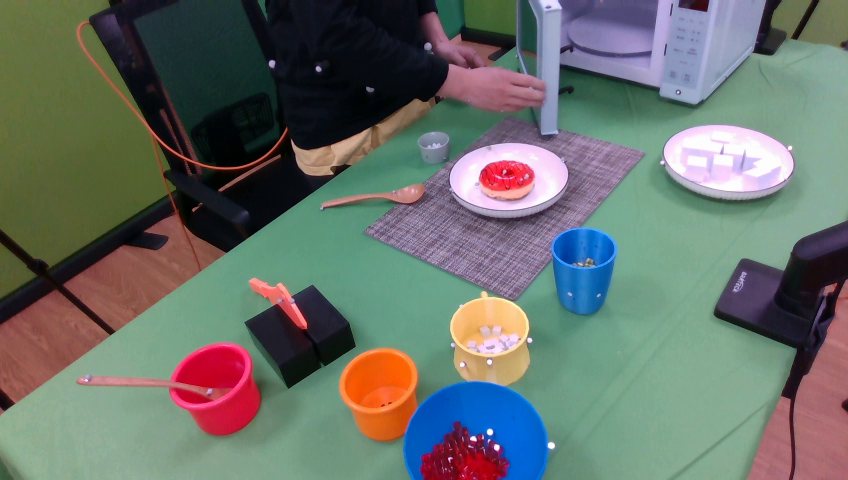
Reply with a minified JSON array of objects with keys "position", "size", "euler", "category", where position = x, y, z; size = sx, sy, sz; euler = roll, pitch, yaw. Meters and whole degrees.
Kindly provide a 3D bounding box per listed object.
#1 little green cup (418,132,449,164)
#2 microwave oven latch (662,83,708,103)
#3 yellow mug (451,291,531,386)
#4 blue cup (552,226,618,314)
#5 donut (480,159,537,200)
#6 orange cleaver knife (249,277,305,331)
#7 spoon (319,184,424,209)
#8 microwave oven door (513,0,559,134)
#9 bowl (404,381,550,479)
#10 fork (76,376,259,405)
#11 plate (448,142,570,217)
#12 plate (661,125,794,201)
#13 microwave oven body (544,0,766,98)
[{"position":[0.019,-0.177,1.168],"size":[0.061,0.039,0.061],"euler":[-3,41,3],"category":"little green cup"},{"position":[0.518,-0.296,1.204],"size":[0.078,0.029,0.030],"euler":[28,52,35],"category":"microwave oven latch"},{"position":[0.085,0.120,0.786],"size":[0.100,0.064,0.130],"euler":[-7,39,1],"category":"yellow mug"},{"position":[0.218,0.047,0.825],"size":[0.092,0.101,0.092],"euler":[-6,39,5],"category":"blue cup"},{"position":[0.145,-0.106,1.042],"size":[0.099,0.048,0.098],"euler":[-4,38,4],"category":"donut"},{"position":[-0.210,0.088,0.856],"size":[0.012,0.077,0.210],"euler":[-28,15,-25],"category":"orange cleaver knife"},{"position":[-0.094,-0.075,1.074],"size":[0.193,0.022,0.041],"euler":[-5,56,5],"category":"spoon"},{"position":[0.224,-0.408,1.223],"size":[0.039,0.245,0.354],"euler":[-6,40,2],"category":"microwave oven door"},{"position":[0.058,0.235,0.645],"size":[0.151,0.077,0.150],"euler":[-4,39,4],"category":"bowl"},{"position":[-0.295,0.176,0.716],"size":[0.209,0.018,0.028],"euler":[20,26,-37],"category":"fork"},{"position":[0.148,-0.101,1.053],"size":[0.209,0.038,0.208],"euler":[-4,40,4],"category":"plate"},{"position":[0.513,-0.128,1.035],"size":[0.207,0.039,0.206],"euler":[-4,40,4],"category":"plate"},{"position":[0.472,-0.513,1.317],"size":[0.438,0.261,0.327],"euler":[26,51,34],"category":"microwave oven body"}]
